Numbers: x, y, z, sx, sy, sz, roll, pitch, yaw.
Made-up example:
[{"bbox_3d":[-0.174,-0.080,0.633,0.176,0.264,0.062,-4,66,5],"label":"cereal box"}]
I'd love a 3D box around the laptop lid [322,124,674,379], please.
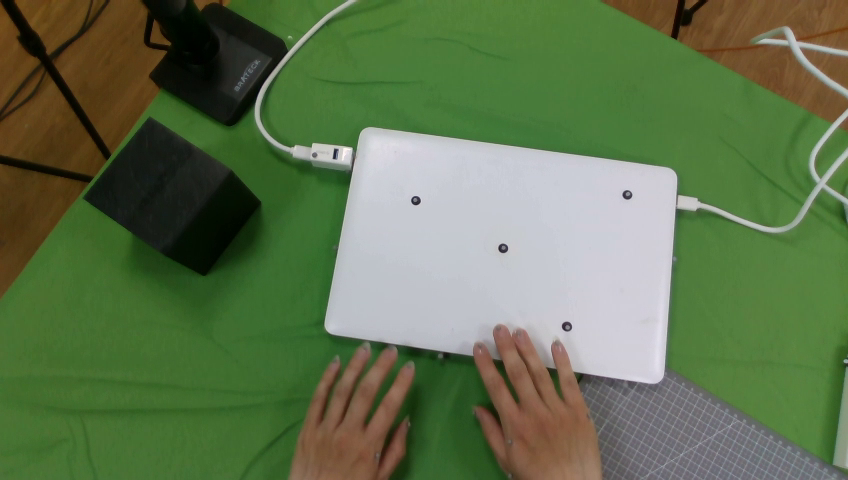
[{"bbox_3d":[0.082,0.006,0.642,0.356,0.013,0.240,9,79,3],"label":"laptop lid"}]

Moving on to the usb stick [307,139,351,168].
[{"bbox_3d":[-0.097,-0.094,0.665,0.059,0.027,0.021,8,78,-4],"label":"usb stick"}]

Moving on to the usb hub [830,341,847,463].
[{"bbox_3d":[0.449,0.166,0.612,0.049,0.025,0.124,16,77,5],"label":"usb hub"}]

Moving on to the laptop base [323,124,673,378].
[{"bbox_3d":[0.083,0.007,0.655,0.354,0.023,0.234,8,80,2],"label":"laptop base"}]
